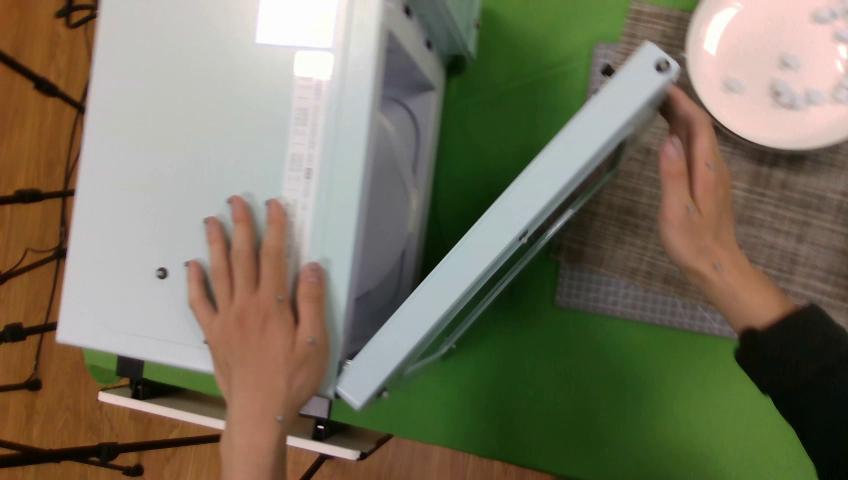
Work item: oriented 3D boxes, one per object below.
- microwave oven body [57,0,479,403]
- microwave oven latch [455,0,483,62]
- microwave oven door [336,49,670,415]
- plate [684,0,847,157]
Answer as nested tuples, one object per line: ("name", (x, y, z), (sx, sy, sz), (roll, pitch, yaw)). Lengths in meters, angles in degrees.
("microwave oven body", (-0.141, -0.095, 0.631), (0.325, 0.261, 0.441), (8, 90, 14))
("microwave oven latch", (0.049, -0.246, 0.691), (0.030, 0.029, 0.079), (9, 90, 14))
("microwave oven door", (0.079, 0.006, 0.567), (0.039, 0.245, 0.356), (43, 97, 13))
("plate", (0.377, -0.184, 0.622), (0.208, 0.038, 0.208), (-1, 86, 14))
